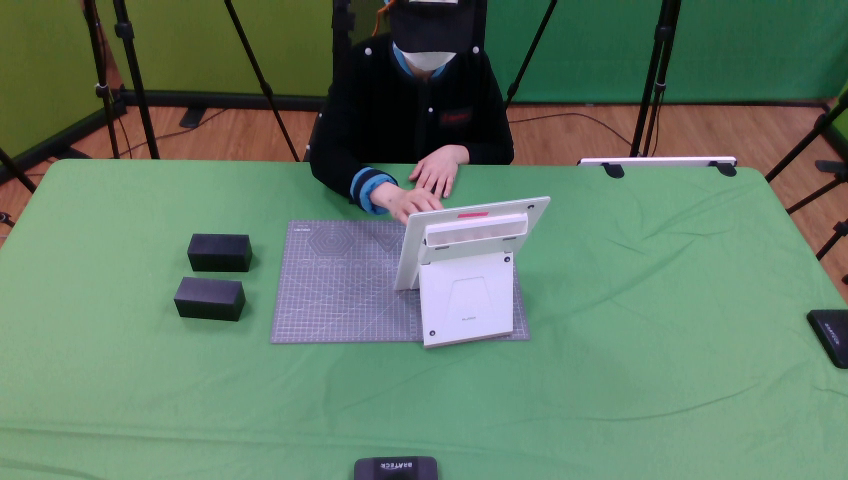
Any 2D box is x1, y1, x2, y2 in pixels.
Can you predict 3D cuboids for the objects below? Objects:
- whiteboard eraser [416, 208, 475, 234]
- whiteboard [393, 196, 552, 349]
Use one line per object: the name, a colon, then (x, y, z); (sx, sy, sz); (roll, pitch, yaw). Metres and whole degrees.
whiteboard eraser: (0.036, -0.033, 1.035); (0.101, 0.041, 0.019); (-17, 79, 13)
whiteboard: (0.077, 0.071, 0.977); (0.217, 0.306, 0.143); (-7, 66, -11)
